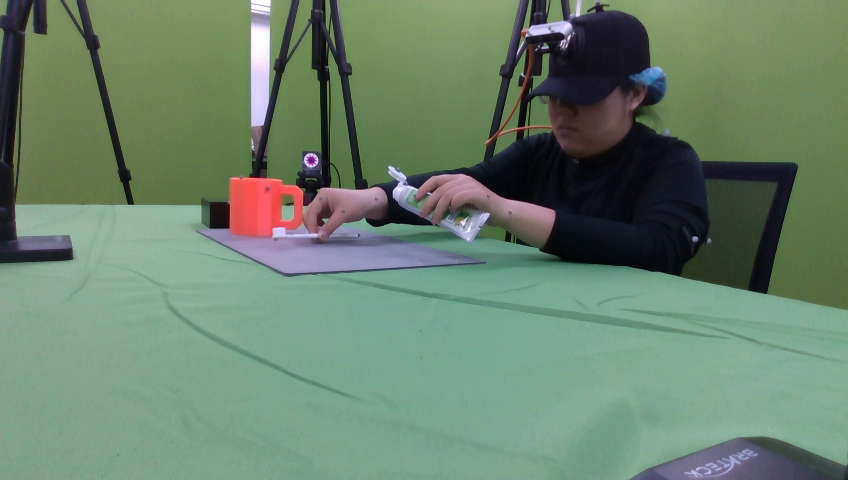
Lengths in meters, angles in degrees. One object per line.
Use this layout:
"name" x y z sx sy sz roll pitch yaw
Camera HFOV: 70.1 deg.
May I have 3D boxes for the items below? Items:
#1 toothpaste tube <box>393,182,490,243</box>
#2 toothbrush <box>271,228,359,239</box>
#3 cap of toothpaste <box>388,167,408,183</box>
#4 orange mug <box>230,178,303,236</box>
"toothpaste tube" 0.019 -0.049 0.914 0.164 0.055 0.034 27 -11 29
"toothbrush" -0.170 -0.009 0.964 0.014 0.016 0.183 -17 -11 36
"cap of toothpaste" -0.043 -0.102 0.953 0.037 0.011 0.037 31 17 -10
"orange mug" -0.275 -0.060 1.058 0.126 0.101 0.083 -2 8 -5
